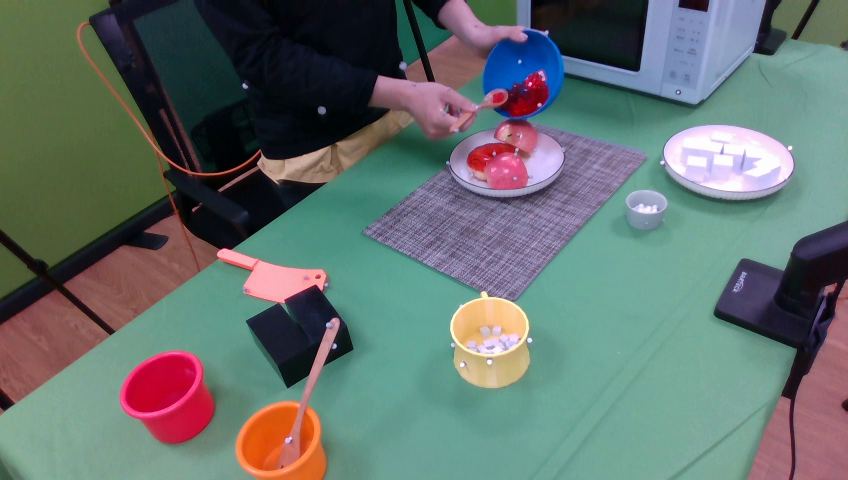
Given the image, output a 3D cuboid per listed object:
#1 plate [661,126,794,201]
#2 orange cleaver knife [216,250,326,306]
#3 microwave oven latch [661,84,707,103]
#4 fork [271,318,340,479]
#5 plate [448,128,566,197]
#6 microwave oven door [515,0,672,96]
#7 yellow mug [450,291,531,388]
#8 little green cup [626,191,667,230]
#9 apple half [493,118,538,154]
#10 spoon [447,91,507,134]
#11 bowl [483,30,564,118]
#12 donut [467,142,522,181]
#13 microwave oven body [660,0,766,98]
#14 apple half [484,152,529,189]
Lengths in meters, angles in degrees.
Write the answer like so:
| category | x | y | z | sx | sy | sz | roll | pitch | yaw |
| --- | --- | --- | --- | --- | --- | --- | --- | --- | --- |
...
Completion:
| category | x | y | z | sx | sy | sz | roll | pitch | yaw |
| --- | --- | --- | --- | --- | --- | --- | --- | --- | --- |
| plate | 0.513 | -0.128 | 1.035 | 0.207 | 0.039 | 0.206 | -4 | 40 | 4 |
| orange cleaver knife | -0.248 | 0.058 | 0.945 | 0.210 | 0.012 | 0.077 | 13 | 49 | 20 |
| microwave oven latch | 0.517 | -0.296 | 1.204 | 0.078 | 0.029 | 0.030 | 27 | 52 | 35 |
| fork | -0.132 | 0.186 | 0.676 | 0.028 | 0.019 | 0.207 | 18 | 90 | 28 |
| plate | 0.150 | -0.138 | 1.097 | 0.209 | 0.038 | 0.208 | -4 | 40 | 4 |
| microwave oven door | 0.344 | -0.455 | 1.259 | 0.353 | 0.245 | 0.039 | 26 | 51 | 33 |
| yellow mug | 0.085 | 0.120 | 0.786 | 0.100 | 0.064 | 0.130 | -7 | 39 | 1 |
| little green cup | 0.352 | -0.046 | 0.963 | 0.061 | 0.039 | 0.061 | -4 | 40 | 4 |
| apple half | 0.175 | -0.197 | 1.114 | 0.080 | 0.053 | 0.075 | 30 | 13 | 34 |
| spoon | 0.086 | -0.212 | 0.998 | 0.041 | 0.022 | 0.194 | 19 | 35 | 25 |
| bowl | 0.188 | -0.286 | 1.071 | 0.150 | 0.151 | 0.077 | 25 | 16 | 32 |
| donut | 0.127 | -0.143 | 1.090 | 0.099 | 0.048 | 0.098 | -6 | 36 | 5 |
| microwave oven body | 0.472 | -0.513 | 1.317 | 0.438 | 0.261 | 0.327 | 26 | 51 | 34 |
| apple half | 0.144 | -0.117 | 1.032 | 0.081 | 0.033 | 0.081 | 2 | 78 | -10 |
